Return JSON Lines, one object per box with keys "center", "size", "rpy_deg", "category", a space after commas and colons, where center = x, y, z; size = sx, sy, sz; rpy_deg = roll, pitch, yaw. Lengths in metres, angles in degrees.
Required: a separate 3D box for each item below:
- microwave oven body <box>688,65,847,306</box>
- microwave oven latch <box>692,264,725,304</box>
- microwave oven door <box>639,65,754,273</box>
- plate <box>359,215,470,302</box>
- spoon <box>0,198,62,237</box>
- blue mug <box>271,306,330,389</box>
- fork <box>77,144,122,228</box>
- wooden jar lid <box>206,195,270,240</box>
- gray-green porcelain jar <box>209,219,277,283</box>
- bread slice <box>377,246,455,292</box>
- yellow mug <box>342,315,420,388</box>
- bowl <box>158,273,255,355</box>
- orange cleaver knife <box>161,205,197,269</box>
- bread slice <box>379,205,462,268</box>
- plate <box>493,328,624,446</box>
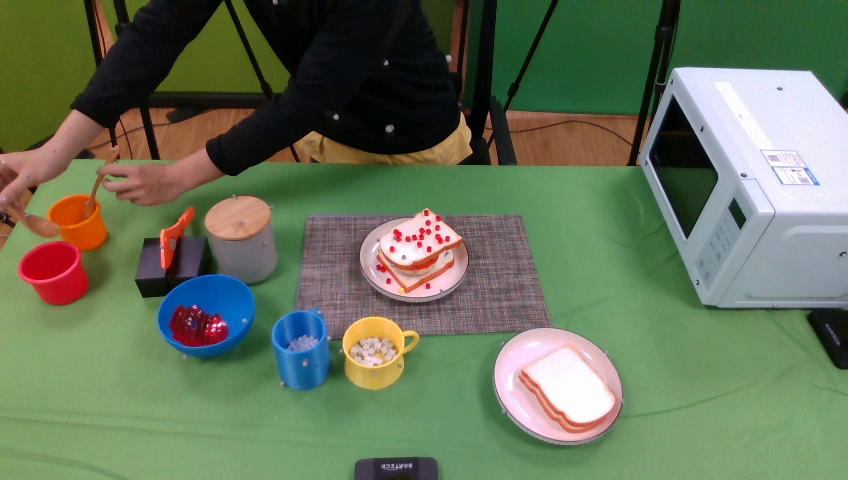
{"center": [0.669, -0.111, 1.176], "size": [0.326, 0.261, 0.439], "rpy_deg": [0, 46, -3], "category": "microwave oven body"}
{"center": [0.522, 0.081, 1.116], "size": [0.030, 0.029, 0.078], "rpy_deg": [1, 46, -2], "category": "microwave oven latch"}
{"center": [0.522, -0.147, 1.193], "size": [0.039, 0.245, 0.353], "rpy_deg": [0, 47, -3], "category": "microwave oven door"}
{"center": [-0.019, 0.038, 1.140], "size": [0.209, 0.038, 0.208], "rpy_deg": [2, 46, -2], "category": "plate"}
{"center": [-0.681, -0.060, 0.976], "size": [0.021, 0.195, 0.041], "rpy_deg": [-29, 46, 18], "category": "spoon"}
{"center": [-0.188, 0.163, 0.969], "size": [0.082, 0.106, 0.116], "rpy_deg": [15, 47, 10], "category": "blue mug"}
{"center": [-0.596, -0.099, 1.113], "size": [0.028, 0.207, 0.018], "rpy_deg": [50, 31, 17], "category": "fork"}
{"center": [-0.319, -0.036, 1.046], "size": [0.108, 0.021, 0.107], "rpy_deg": [1, 44, 0], "category": "wooden jar lid"}
{"center": [-0.323, 0.007, 1.092], "size": [0.106, 0.127, 0.105], "rpy_deg": [2, 46, -2], "category": "gray-green porcelain jar"}
{"center": [-0.010, 0.034, 1.150], "size": [0.131, 0.019, 0.104], "rpy_deg": [-29, 56, -23], "category": "bread slice"}
{"center": [-0.068, 0.177, 0.990], "size": [0.131, 0.064, 0.099], "rpy_deg": [-15, 50, -19], "category": "yellow mug"}
{"center": [-0.351, 0.136, 1.001], "size": [0.151, 0.077, 0.150], "rpy_deg": [2, 46, -2], "category": "bowl"}
{"center": [-0.453, -0.010, 1.129], "size": [0.012, 0.077, 0.210], "rpy_deg": [-4, 20, -4], "category": "orange cleaver knife"}
{"center": [-0.012, -0.001, 1.097], "size": [0.134, 0.018, 0.106], "rpy_deg": [-34, 52, -23], "category": "bread slice"}
{"center": [0.213, 0.236, 0.974], "size": [0.208, 0.039, 0.206], "rpy_deg": [2, 46, -2], "category": "plate"}
